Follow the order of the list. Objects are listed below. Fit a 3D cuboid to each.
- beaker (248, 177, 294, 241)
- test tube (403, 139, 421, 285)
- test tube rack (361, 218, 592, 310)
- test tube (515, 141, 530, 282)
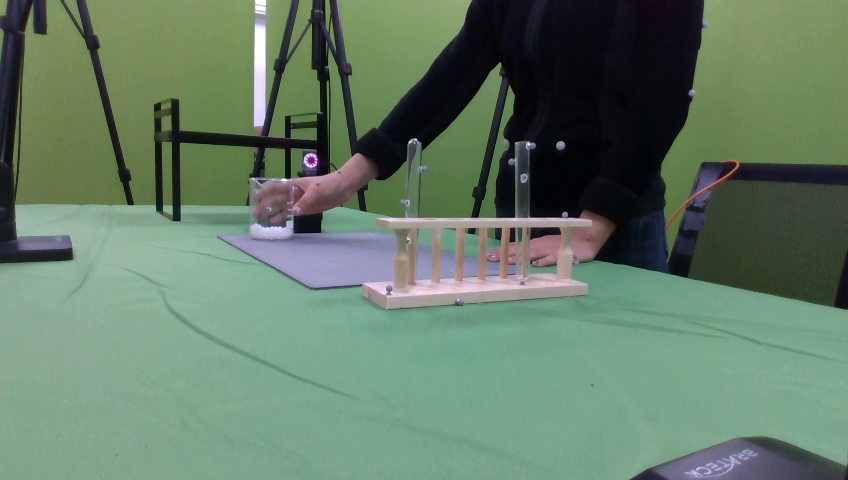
[{"bbox_3d":[-0.252,-0.051,0.992,0.074,0.100,0.084,3,9,6],"label":"beaker"},{"bbox_3d":[-0.013,-0.027,0.618,0.017,0.150,0.017,2,7,0],"label":"test tube"},{"bbox_3d":[0.060,0.018,0.640,0.243,0.085,0.066,-1,8,-27],"label":"test tube rack"},{"bbox_3d":[0.104,-0.028,0.636,0.017,0.150,0.017,-2,12,1],"label":"test tube"}]
